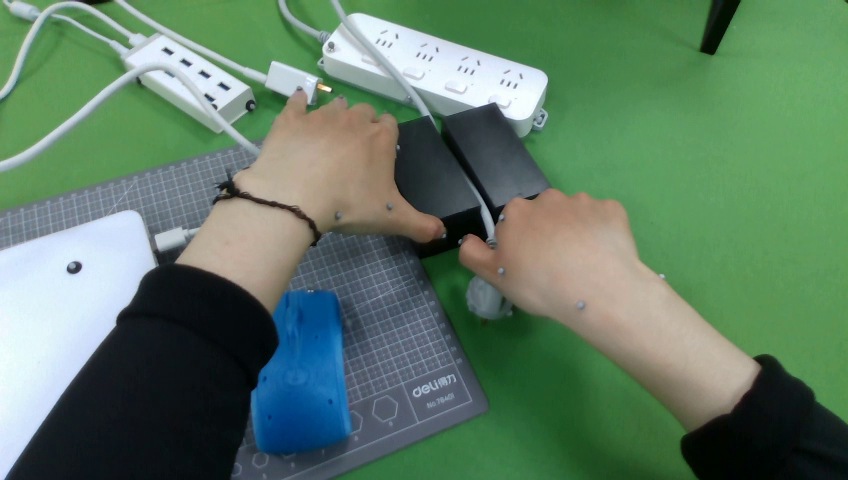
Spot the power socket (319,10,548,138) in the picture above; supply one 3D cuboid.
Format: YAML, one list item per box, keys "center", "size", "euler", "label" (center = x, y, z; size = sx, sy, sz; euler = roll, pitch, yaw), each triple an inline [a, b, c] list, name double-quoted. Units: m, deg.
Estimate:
- center: [0.010, -0.159, 0.572]
  size: [0.226, 0.033, 0.072]
  euler: [21, 59, 11]
  label: "power socket"

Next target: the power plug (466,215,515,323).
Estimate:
- center: [0.054, 0.026, 0.451]
  size: [0.035, 0.053, 0.072]
  euler: [20, 53, 5]
  label: "power plug"

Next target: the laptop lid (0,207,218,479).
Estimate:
- center: [-0.331, 0.123, 0.376]
  size: [0.357, 0.013, 0.239]
  euler: [-20, 63, -13]
  label: "laptop lid"

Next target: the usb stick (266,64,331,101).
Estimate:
- center: [-0.114, -0.144, 0.561]
  size: [0.059, 0.027, 0.021]
  euler: [11, 13, -12]
  label: "usb stick"

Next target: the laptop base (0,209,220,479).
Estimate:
- center: [-0.332, 0.128, 0.388]
  size: [0.355, 0.023, 0.233]
  euler: [-21, 65, -14]
  label: "laptop base"

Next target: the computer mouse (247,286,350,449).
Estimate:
- center: [-0.086, 0.081, 0.411]
  size: [0.063, 0.041, 0.116]
  euler: [-9, 54, -5]
  label: "computer mouse"

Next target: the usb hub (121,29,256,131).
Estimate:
- center: [-0.219, -0.150, 0.562]
  size: [0.124, 0.025, 0.049]
  euler: [33, 62, 18]
  label: "usb hub"
